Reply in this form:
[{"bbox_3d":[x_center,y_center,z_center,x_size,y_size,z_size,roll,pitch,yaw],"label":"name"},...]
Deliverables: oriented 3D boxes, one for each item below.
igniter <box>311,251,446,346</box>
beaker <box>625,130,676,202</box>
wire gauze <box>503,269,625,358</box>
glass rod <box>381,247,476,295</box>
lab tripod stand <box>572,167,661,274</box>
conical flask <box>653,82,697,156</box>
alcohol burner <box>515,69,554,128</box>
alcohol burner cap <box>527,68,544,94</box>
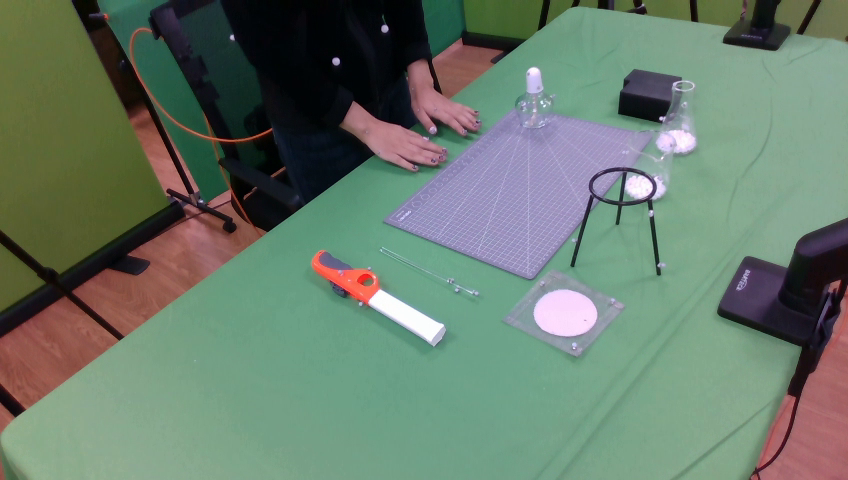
[{"bbox_3d":[-0.078,0.081,0.899,0.274,0.025,0.057,27,62,35],"label":"igniter"},{"bbox_3d":[0.369,-0.117,0.992,0.074,0.101,0.083,-7,41,5],"label":"beaker"},{"bbox_3d":[0.194,0.100,0.840,0.120,0.011,0.125,27,54,36],"label":"wire gauze"},{"bbox_3d":[0.002,0.047,0.939,0.198,0.008,0.008,23,50,36],"label":"glass rod"},{"bbox_3d":[0.283,-0.030,0.879,0.148,0.132,0.147,-7,38,6],"label":"lab tripod stand"},{"bbox_3d":[0.454,-0.218,1.077,0.075,0.122,0.075,-5,40,5],"label":"conical flask"},{"bbox_3d":[0.221,-0.285,1.203,0.078,0.119,0.077,-4,39,4],"label":"alcohol burner"},{"bbox_3d":[0.216,-0.312,1.179,0.034,0.048,0.033,-10,40,9],"label":"alcohol burner cap"}]
